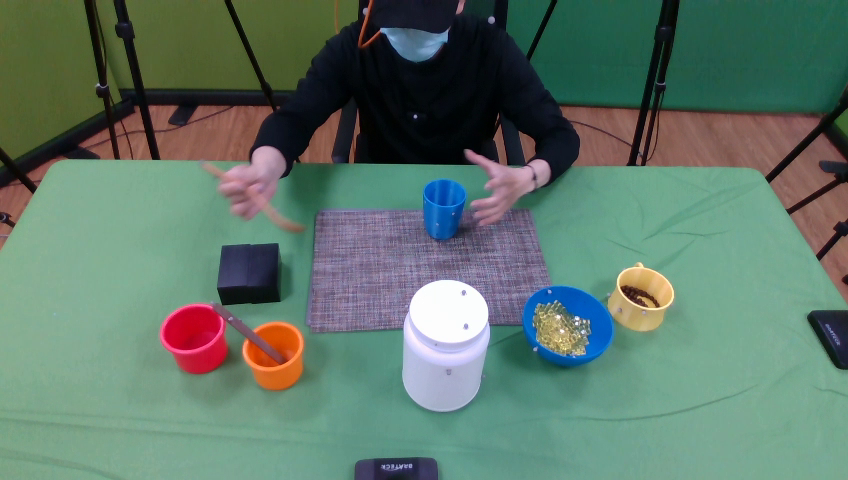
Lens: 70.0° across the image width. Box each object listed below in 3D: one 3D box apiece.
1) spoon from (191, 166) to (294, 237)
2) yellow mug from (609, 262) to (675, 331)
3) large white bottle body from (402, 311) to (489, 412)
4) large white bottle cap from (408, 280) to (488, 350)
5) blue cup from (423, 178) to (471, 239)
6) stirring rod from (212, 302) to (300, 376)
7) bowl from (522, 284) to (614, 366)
[{"bbox_3d":[-0.282,-0.060,0.940,0.193,0.041,0.021,38,90,4],"label":"spoon"},{"bbox_3d":[0.393,0.094,1.103,0.100,0.064,0.130,7,45,3],"label":"yellow mug"},{"bbox_3d":[0.031,0.163,0.928,0.131,0.185,0.130,2,46,-1],"label":"large white bottle body"},{"bbox_3d":[0.034,0.105,0.866,0.115,0.018,0.114,2,46,-1],"label":"large white bottle cap"},{"bbox_3d":[0.036,-0.056,1.193,0.093,0.101,0.092,3,45,-3],"label":"blue cup"},{"bbox_3d":[-0.261,0.156,0.947,0.177,0.006,0.014,45,45,-19],"label":"stirring rod"},{"bbox_3d":[0.235,0.158,1.022,0.151,0.077,0.150,2,46,-2],"label":"bowl"}]
